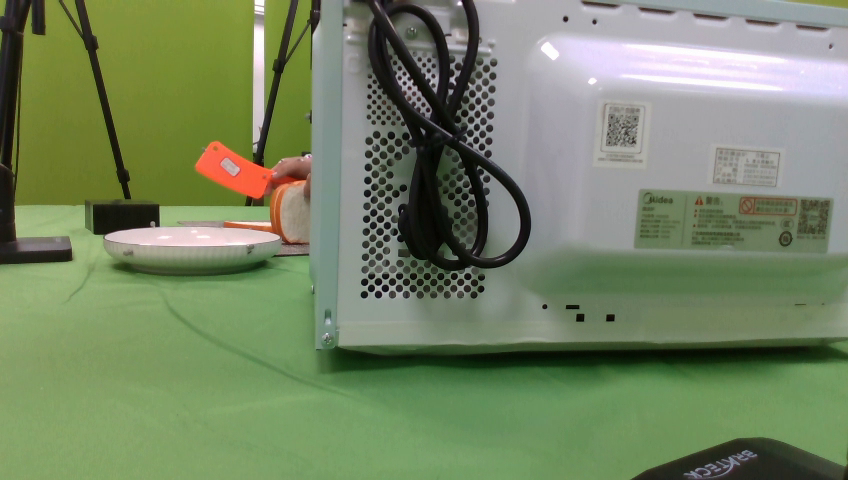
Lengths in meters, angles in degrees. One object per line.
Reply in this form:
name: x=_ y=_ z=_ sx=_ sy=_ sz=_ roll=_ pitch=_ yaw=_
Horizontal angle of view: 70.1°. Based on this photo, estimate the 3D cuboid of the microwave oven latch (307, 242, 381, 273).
microwave oven latch: x=-0.086 y=0.019 z=0.656 sx=0.079 sy=0.029 sz=0.030 roll=2 pitch=7 yaw=-10

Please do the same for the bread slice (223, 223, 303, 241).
bread slice: x=-0.275 y=-0.013 z=1.041 sx=0.135 sy=0.018 sz=0.106 roll=8 pitch=-3 yaw=-42

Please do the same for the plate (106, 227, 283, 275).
plate: x=-0.288 y=0.013 z=0.772 sx=0.208 sy=0.039 sz=0.207 roll=2 pitch=7 yaw=0

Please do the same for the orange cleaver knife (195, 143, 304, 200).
orange cleaver knife: x=-0.324 y=-0.118 z=1.151 sx=0.212 sy=0.077 sz=0.012 roll=21 pitch=-19 yaw=-32

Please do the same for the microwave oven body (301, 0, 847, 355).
microwave oven body: x=0.120 y=-0.053 z=0.535 sx=0.443 sy=0.260 sz=0.325 roll=2 pitch=7 yaw=-11

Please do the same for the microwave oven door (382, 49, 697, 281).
microwave oven door: x=0.135 y=-0.077 z=0.685 sx=0.357 sy=0.243 sz=0.039 roll=1 pitch=8 yaw=-12
